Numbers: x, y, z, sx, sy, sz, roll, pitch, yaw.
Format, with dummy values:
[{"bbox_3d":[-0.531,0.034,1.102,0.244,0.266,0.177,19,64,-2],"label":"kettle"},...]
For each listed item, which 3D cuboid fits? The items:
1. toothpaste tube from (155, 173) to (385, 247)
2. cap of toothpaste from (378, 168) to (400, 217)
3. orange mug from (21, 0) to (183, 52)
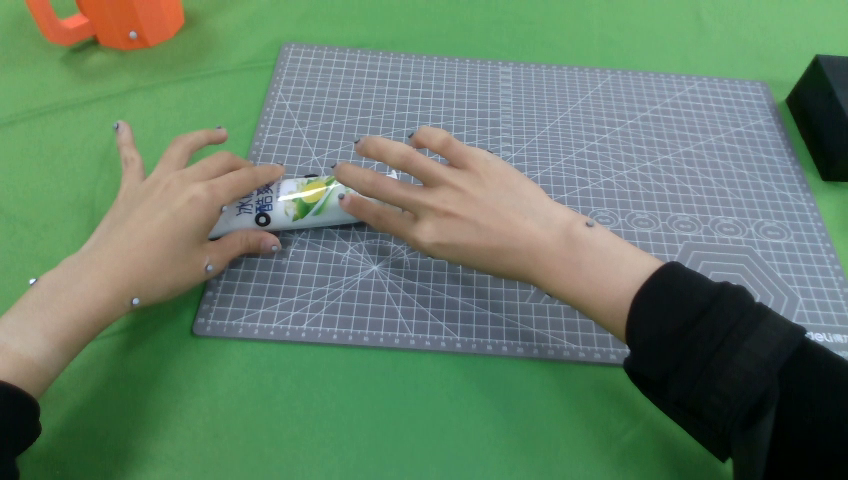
[{"bbox_3d":[-0.106,-0.027,0.434,0.165,0.035,0.054,-6,50,-3],"label":"toothpaste tube"},{"bbox_3d":[-0.025,-0.034,0.437,0.011,0.037,0.037,-11,55,-11],"label":"cap of toothpaste"},{"bbox_3d":[-0.281,-0.222,0.522,0.083,0.101,0.126,40,57,22],"label":"orange mug"}]
